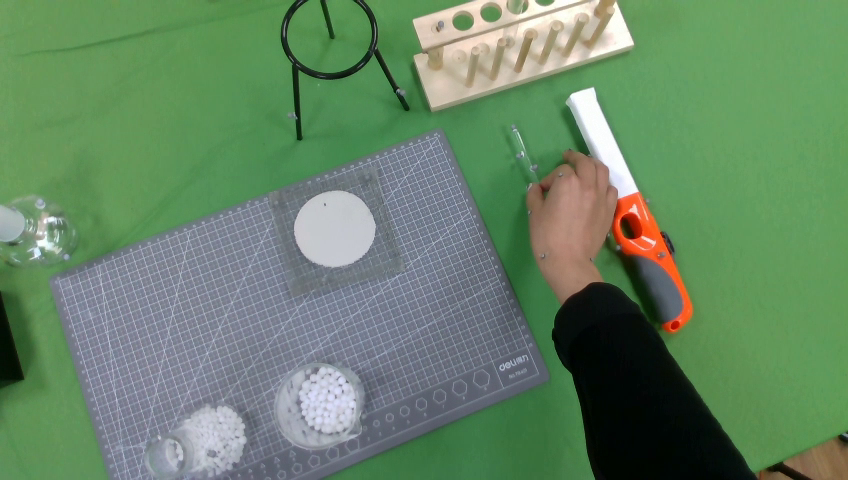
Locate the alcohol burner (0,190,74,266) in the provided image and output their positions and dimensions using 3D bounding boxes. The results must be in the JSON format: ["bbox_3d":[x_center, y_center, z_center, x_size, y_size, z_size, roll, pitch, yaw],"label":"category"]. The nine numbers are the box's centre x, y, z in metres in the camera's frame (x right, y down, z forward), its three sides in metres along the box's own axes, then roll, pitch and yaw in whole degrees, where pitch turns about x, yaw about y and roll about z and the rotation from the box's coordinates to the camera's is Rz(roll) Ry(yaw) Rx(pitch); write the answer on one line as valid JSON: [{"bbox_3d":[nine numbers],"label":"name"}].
[{"bbox_3d":[-0.402,-0.015,0.594,0.078,0.119,0.077,0,81,0],"label":"alcohol burner"}]

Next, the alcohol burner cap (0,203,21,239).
[{"bbox_3d":[-0.403,-0.023,0.559,0.034,0.048,0.033,0,73,1],"label":"alcohol burner cap"}]

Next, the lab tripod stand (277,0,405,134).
[{"bbox_3d":[-0.093,-0.180,0.620,0.148,0.132,0.148,0,82,-1],"label":"lab tripod stand"}]

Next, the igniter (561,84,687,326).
[{"bbox_3d":[0.216,-0.041,0.655,0.057,0.025,0.275,-19,81,-14],"label":"igniter"}]

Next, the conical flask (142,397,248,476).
[{"bbox_3d":[-0.213,0.186,0.556,0.075,0.122,0.075,0,79,-1],"label":"conical flask"}]

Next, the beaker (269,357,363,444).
[{"bbox_3d":[-0.094,0.151,0.576,0.084,0.100,0.074,31,81,4],"label":"beaker"}]

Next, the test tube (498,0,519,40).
[{"bbox_3d":[0.088,-0.242,0.608,0.017,0.151,0.017,0,80,2],"label":"test tube"}]

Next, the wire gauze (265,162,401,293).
[{"bbox_3d":[-0.099,-0.014,0.651,0.125,0.011,0.121,-14,80,-6],"label":"wire gauze"}]

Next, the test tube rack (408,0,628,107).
[{"bbox_3d":[0.108,-0.225,0.656,0.242,0.085,0.066,-18,80,-4],"label":"test tube rack"}]

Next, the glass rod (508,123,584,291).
[{"bbox_3d":[0.131,-0.037,0.656,0.008,0.008,0.199,-21,83,-5],"label":"glass rod"}]
